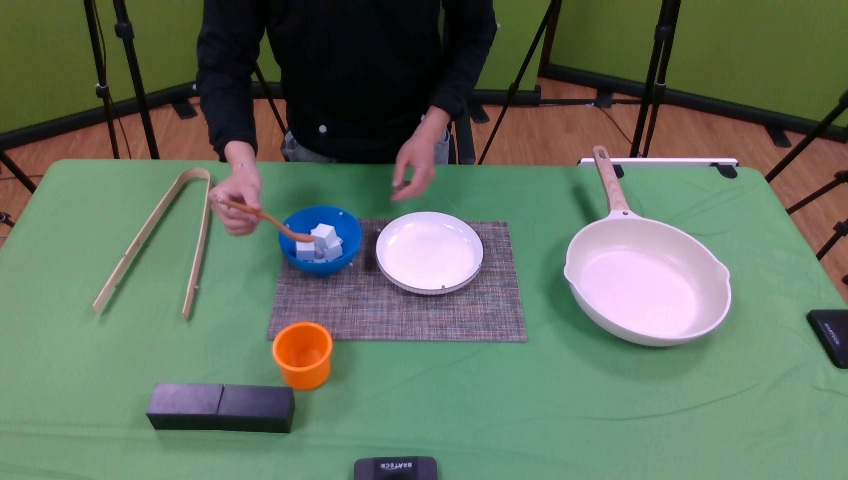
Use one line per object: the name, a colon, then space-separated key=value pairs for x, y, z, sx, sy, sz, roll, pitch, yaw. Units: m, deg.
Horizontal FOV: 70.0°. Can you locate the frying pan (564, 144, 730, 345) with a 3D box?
frying pan: x=0.396 y=-0.008 z=1.179 sx=0.307 sy=0.103 sz=0.484 roll=0 pitch=55 yaw=-5

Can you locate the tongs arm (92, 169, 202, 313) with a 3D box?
tongs arm: x=-0.517 y=-0.012 z=1.161 sx=0.051 sy=0.026 sz=0.382 roll=7 pitch=45 yaw=1

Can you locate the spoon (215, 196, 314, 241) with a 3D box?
spoon: x=-0.246 y=-0.033 z=0.947 sx=0.041 sy=0.195 sz=0.021 roll=23 pitch=83 yaw=40

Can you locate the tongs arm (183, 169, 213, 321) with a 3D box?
tongs arm: x=-0.436 y=-0.005 z=1.167 sx=0.028 sy=0.028 sz=0.385 roll=-5 pitch=46 yaw=-6

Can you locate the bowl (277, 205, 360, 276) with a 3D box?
bowl: x=-0.192 y=0.013 z=1.124 sx=0.151 sy=0.077 sz=0.150 roll=3 pitch=46 yaw=-2

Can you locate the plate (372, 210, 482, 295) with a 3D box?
plate: x=0.005 y=0.028 z=1.155 sx=0.208 sy=0.039 sz=0.206 roll=3 pitch=46 yaw=-2
